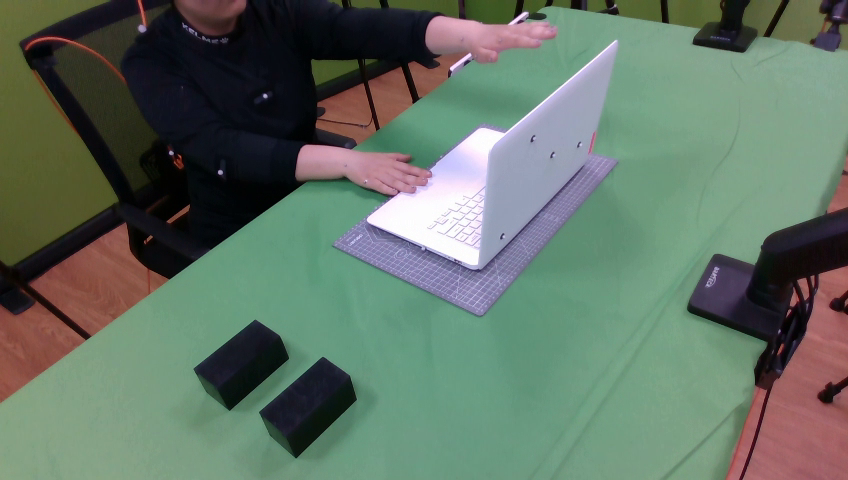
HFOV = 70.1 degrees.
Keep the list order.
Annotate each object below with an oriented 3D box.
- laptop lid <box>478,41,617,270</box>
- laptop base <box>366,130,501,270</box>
[{"bbox_3d":[0.190,-0.130,0.913,0.013,0.242,0.358,29,50,26],"label":"laptop lid"},{"bbox_3d":[0.098,-0.085,1.058,0.233,0.023,0.355,21,47,34],"label":"laptop base"}]
